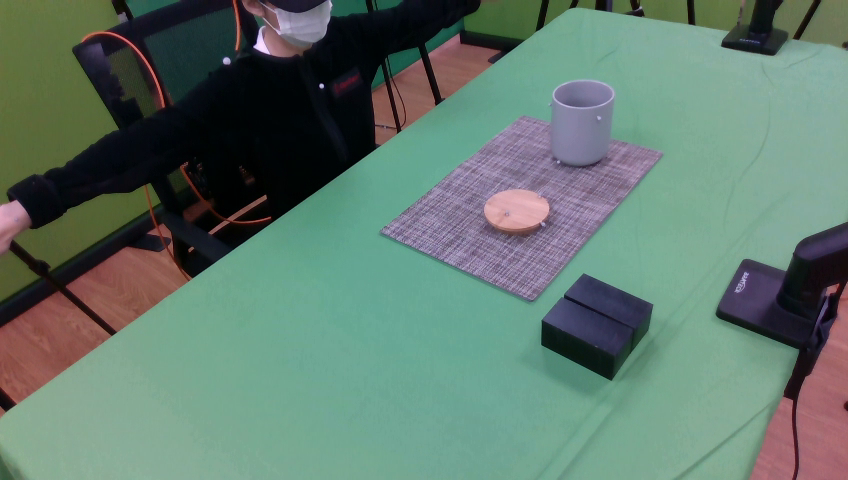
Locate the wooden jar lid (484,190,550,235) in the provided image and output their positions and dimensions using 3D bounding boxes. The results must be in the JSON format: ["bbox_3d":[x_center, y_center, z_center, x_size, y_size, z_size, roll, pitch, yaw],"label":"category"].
[{"bbox_3d":[0.154,-0.045,1.001,0.108,0.021,0.108,-3,40,3],"label":"wooden jar lid"}]

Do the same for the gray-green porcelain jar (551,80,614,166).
[{"bbox_3d":[0.282,-0.205,1.086,0.106,0.127,0.105,-4,40,4],"label":"gray-green porcelain jar"}]
